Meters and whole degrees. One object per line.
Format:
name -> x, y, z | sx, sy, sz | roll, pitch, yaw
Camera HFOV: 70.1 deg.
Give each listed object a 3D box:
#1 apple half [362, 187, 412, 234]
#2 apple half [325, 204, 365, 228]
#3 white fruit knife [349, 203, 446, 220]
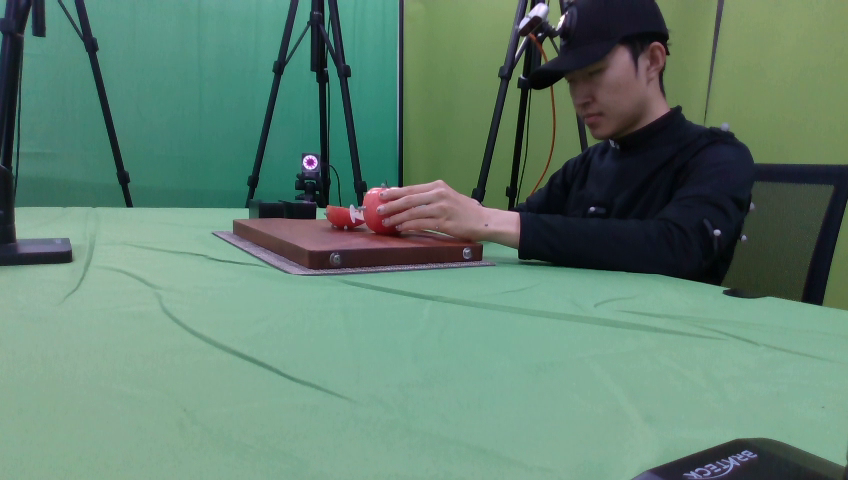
apple half -> -0.050, -0.045, 0.938 | 0.081, 0.074, 0.053 | 1, 11, -45
apple half -> -0.128, -0.035, 0.990 | 0.081, 0.033, 0.081 | 10, -5, 1
white fruit knife -> -0.038, -0.045, 0.994 | 0.208, 0.027, 0.016 | -5, 9, -44
